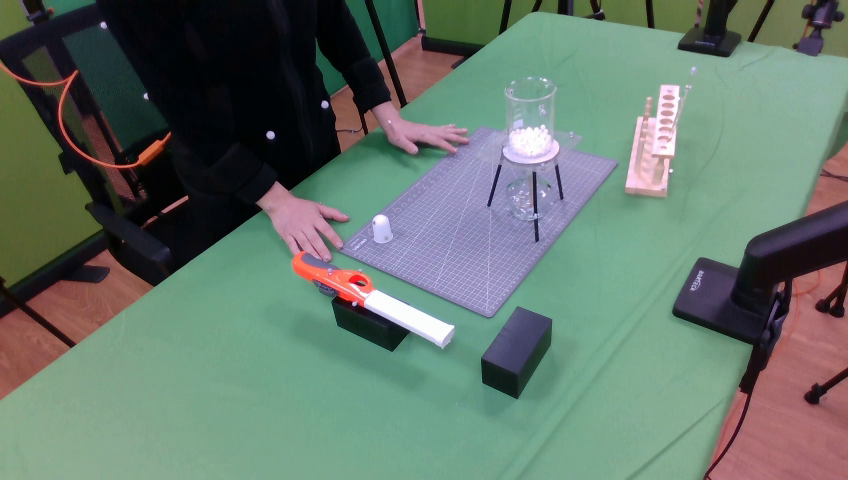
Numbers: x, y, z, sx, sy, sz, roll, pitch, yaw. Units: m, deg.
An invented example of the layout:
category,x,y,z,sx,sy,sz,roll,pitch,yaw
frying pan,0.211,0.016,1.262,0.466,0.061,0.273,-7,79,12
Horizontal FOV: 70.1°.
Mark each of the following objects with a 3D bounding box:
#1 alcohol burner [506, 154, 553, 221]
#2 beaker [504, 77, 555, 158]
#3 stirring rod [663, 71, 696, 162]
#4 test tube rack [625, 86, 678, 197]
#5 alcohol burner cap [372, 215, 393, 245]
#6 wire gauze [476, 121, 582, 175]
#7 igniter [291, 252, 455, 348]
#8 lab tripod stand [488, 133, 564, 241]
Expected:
category,x,y,z,sx,sy,sz,roll,pitch,yaw
alcohol burner,0.171,-0.090,0.984,0.078,0.119,0.077,-5,42,5
beaker,0.160,-0.181,0.900,0.084,0.101,0.073,-32,46,-27
stirring rod,0.410,-0.195,0.981,0.014,0.177,0.006,12,50,14
test tube rack,0.412,-0.184,1.088,0.066,0.085,0.242,9,43,18
alcohol burner cap,-0.070,-0.019,0.990,0.034,0.048,0.033,-4,40,4
wire gauze,0.162,-0.142,0.929,0.120,0.011,0.125,19,49,32
igniter,-0.080,0.076,0.822,0.274,0.025,0.057,23,45,27
lab tripod stand,0.168,-0.093,0.972,0.148,0.132,0.147,-5,41,5
